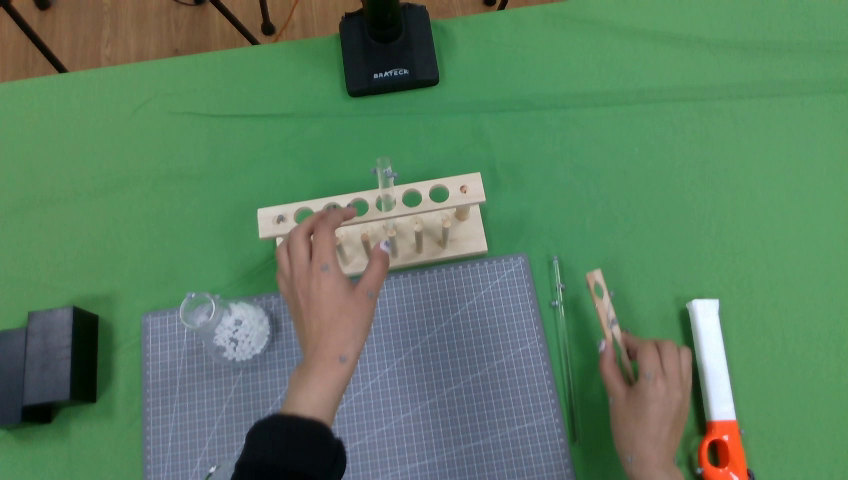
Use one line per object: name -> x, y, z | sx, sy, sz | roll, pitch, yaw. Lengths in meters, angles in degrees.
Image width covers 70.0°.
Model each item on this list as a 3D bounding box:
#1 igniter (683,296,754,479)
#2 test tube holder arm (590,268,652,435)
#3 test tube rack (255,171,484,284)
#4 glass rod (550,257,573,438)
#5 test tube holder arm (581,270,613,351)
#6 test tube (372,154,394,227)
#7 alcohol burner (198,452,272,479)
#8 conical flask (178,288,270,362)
igniter -> 0.305, 0.194, 0.630 | 0.057, 0.025, 0.274 | 2, 72, -8
test tube holder arm -> 0.205, 0.115, 0.637 | 0.013, 0.015, 0.177 | -20, 80, 9
test tube rack -> -0.055, -0.011, 0.679 | 0.242, 0.086, 0.066 | -10, 72, -1
glass rod -> 0.152, 0.115, 0.670 | 0.008, 0.008, 0.198 | -2, 74, 1
test tube holder arm -> 0.186, 0.075, 0.645 | 0.010, 0.015, 0.087 | -19, 80, 9
test tube -> -0.042, -0.048, 0.639 | 0.017, 0.151, 0.017 | 0, 68, 0
alcohol burner -> -0.189, 0.245, 0.583 | 0.078, 0.120, 0.077 | -1, 71, 4
conical flask -> -0.212, 0.083, 0.631 | 0.075, 0.122, 0.075 | -1, 72, 2
